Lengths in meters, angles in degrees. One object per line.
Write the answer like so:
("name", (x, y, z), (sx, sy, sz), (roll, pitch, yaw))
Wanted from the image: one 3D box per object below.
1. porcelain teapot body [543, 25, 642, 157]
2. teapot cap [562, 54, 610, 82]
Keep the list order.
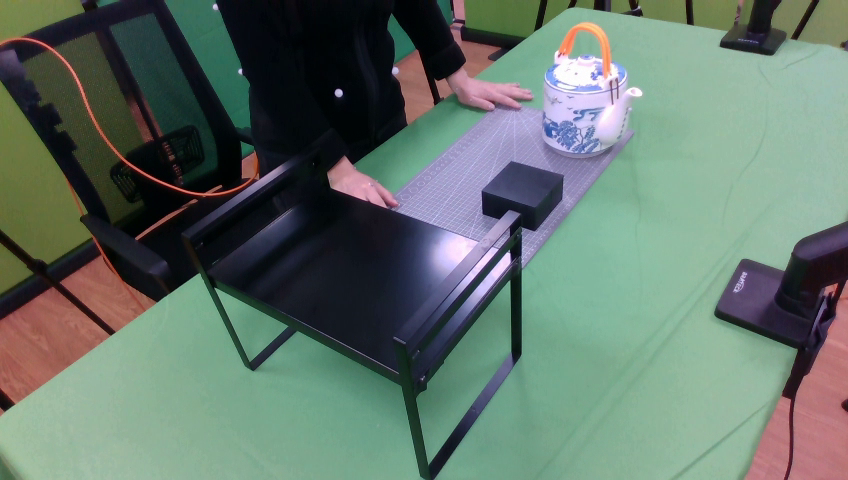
("porcelain teapot body", (0.306, -0.258, 1.070), (0.146, 0.226, 0.203), (-26, 44, -20))
("teapot cap", (0.286, -0.302, 1.064), (0.085, 0.044, 0.085), (-1, 41, 1))
